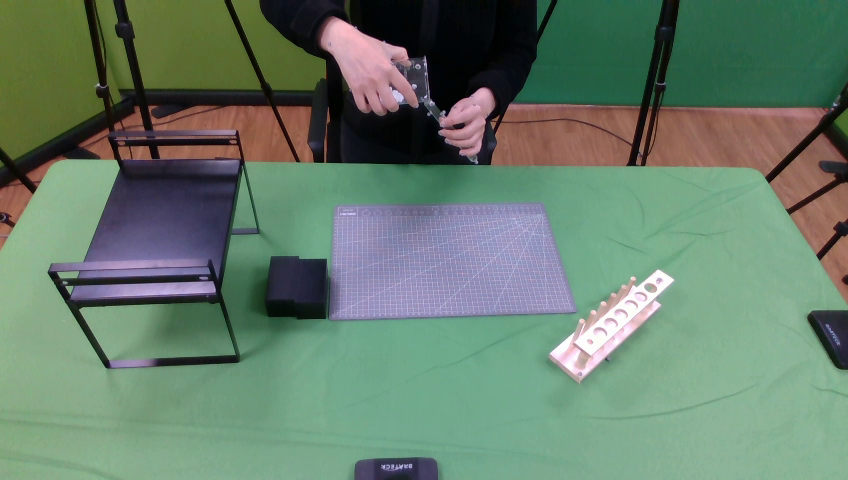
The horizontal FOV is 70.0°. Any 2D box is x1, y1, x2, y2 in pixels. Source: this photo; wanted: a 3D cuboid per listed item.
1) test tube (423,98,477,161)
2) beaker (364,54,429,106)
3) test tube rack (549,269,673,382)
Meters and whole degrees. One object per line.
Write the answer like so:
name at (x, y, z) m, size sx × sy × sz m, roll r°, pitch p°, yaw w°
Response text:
test tube at (0.048, -0.188, 1.051) m, size 0.017 × 0.151 × 0.017 m, roll -28°, pitch 38°, yaw 24°
beaker at (-0.044, -0.254, 0.982) m, size 0.100 × 0.084 × 0.073 m, roll -5°, pitch 47°, yaw 1°
test tube rack at (0.325, 0.134, 1.047) m, size 0.242 × 0.085 × 0.066 m, roll -32°, pitch 56°, yaw -30°
